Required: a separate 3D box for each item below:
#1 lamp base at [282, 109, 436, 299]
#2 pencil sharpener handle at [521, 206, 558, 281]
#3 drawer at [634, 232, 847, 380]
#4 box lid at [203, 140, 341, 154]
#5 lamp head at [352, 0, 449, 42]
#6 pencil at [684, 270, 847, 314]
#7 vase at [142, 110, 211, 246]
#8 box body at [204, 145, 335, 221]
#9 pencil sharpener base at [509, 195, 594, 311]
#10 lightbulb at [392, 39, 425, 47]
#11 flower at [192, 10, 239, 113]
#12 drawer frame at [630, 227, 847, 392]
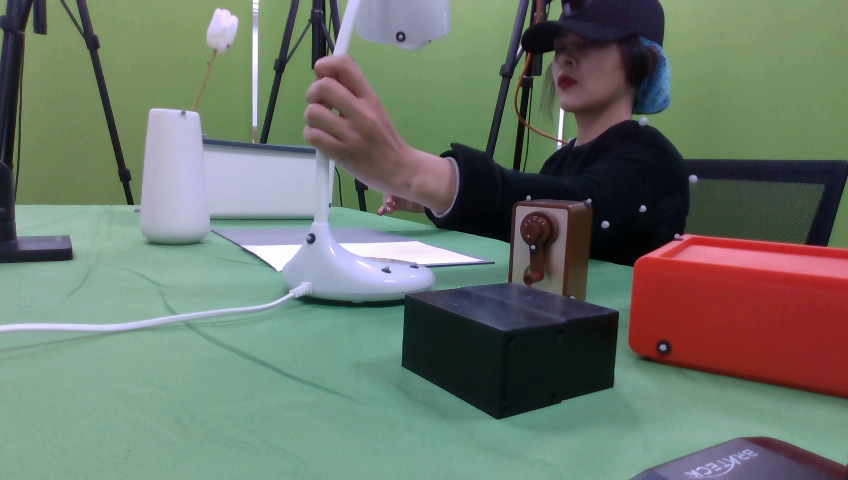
[{"bbox_3d":[-0.070,-0.039,0.612,0.160,0.180,0.180,5,10,25],"label":"lamp base"},{"bbox_3d":[0.102,0.003,0.555,0.036,0.067,0.031,-1,5,31],"label":"pencil sharpener handle"},{"bbox_3d":[0.292,0.045,0.488,0.193,0.073,0.213,7,10,30],"label":"drawer"},{"bbox_3d":[-0.396,-0.212,1.373,0.373,0.015,0.262,-1,9,-29],"label":"box lid"},{"bbox_3d":[-0.030,-0.290,0.668,0.112,0.123,0.112,-3,39,3],"label":"lamp head"},{"bbox_3d":[0.307,0.046,0.517,0.194,0.012,0.012,13,5,-11],"label":"pencil"},{"bbox_3d":[-0.378,-0.093,0.920,0.098,0.200,0.098,2,9,0],"label":"vase"},{"bbox_3d":[-0.411,-0.135,1.386,0.366,0.160,0.253,-2,9,-29],"label":"box body"},{"bbox_3d":[0.126,0.011,0.601,0.061,0.107,0.077,7,9,30],"label":"pencil sharpener base"},{"bbox_3d":[-0.024,-0.275,0.689,0.059,0.108,0.059,-8,27,5],"label":"lightbulb"},{"bbox_3d":[-0.354,-0.174,0.915,0.038,0.361,0.044,18,-4,11],"label":"flower"},{"bbox_3d":[0.292,0.043,0.484,0.201,0.082,0.214,7,9,29],"label":"drawer frame"}]
